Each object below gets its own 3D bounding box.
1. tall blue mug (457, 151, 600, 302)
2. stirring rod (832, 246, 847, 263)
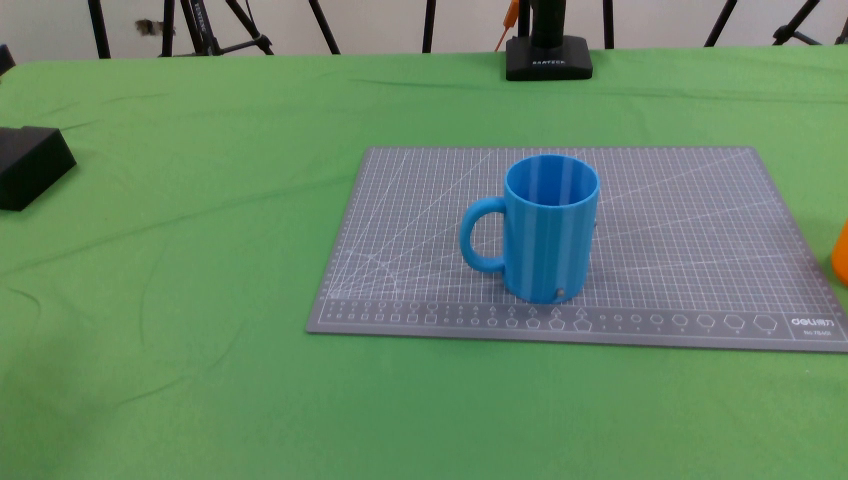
[{"bbox_3d":[0.091,-0.004,0.513,0.107,0.109,0.077,-25,46,-22],"label":"tall blue mug"},{"bbox_3d":[0.423,-0.020,0.485,0.176,0.006,0.014,-32,28,38],"label":"stirring rod"}]
